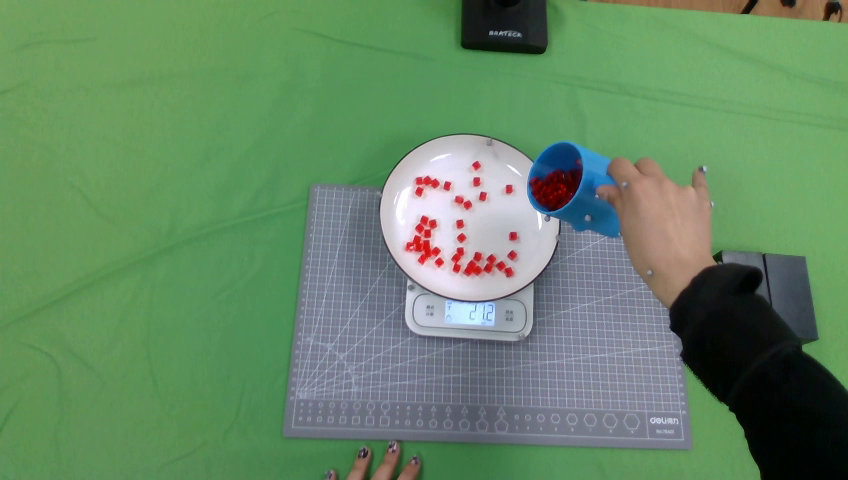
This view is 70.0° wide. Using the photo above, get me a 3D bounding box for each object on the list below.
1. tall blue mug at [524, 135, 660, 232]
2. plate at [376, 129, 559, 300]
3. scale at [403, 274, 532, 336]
[{"bbox_3d":[0.179,-0.062,0.623,0.109,0.107,0.077,15,59,-35],"label":"tall blue mug"},{"bbox_3d":[0.049,-0.028,0.697,0.209,0.038,0.207,2,70,-5],"label":"plate"},{"bbox_3d":[0.054,0.010,0.718,0.149,0.032,0.199,4,70,-3],"label":"scale"}]
